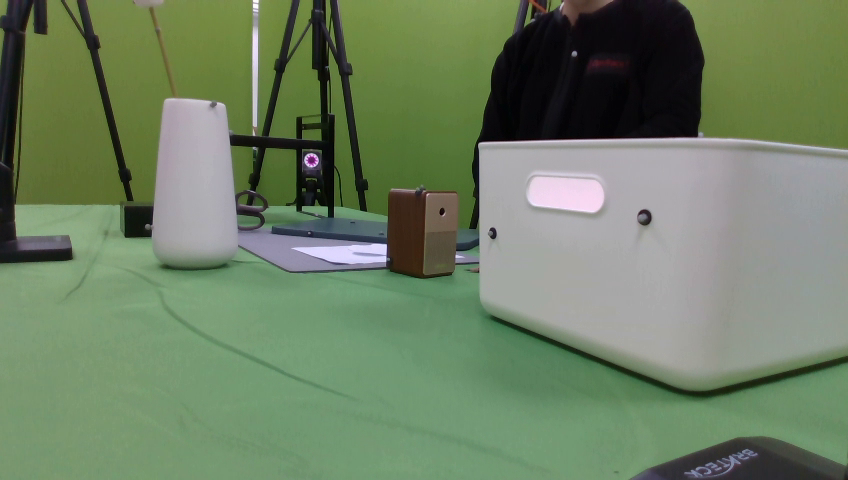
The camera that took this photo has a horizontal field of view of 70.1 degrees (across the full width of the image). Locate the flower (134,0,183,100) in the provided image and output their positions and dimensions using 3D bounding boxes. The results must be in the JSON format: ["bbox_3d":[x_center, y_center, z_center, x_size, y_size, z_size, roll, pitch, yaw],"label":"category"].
[{"bbox_3d":[-0.282,-0.147,0.713,0.038,0.362,0.044,-23,24,-31],"label":"flower"}]

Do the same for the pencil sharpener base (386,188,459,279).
[{"bbox_3d":[-0.004,-0.011,0.761,0.062,0.107,0.076,-5,10,-44],"label":"pencil sharpener base"}]

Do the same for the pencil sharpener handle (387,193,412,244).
[{"bbox_3d":[-0.038,-0.029,0.797,0.036,0.068,0.030,-13,16,-42],"label":"pencil sharpener handle"}]

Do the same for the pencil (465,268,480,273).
[{"bbox_3d":[0.149,0.040,0.804,0.194,0.012,0.012,0,8,-11],"label":"pencil"}]

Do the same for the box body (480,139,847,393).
[{"bbox_3d":[0.255,0.001,0.541,0.366,0.160,0.253,-2,8,-31],"label":"box body"}]

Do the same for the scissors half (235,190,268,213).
[{"bbox_3d":[-0.363,-0.070,1.060,0.176,0.040,0.013,0,16,-23],"label":"scissors half"}]

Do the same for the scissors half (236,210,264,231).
[{"bbox_3d":[-0.369,-0.051,1.065,0.176,0.040,0.012,19,14,-27],"label":"scissors half"}]

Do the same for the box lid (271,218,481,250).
[{"bbox_3d":[-0.072,-0.014,1.141,0.371,0.015,0.264,5,7,16],"label":"box lid"}]

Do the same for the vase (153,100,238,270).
[{"bbox_3d":[-0.278,-0.066,0.736,0.098,0.200,0.098,2,9,0],"label":"vase"}]
